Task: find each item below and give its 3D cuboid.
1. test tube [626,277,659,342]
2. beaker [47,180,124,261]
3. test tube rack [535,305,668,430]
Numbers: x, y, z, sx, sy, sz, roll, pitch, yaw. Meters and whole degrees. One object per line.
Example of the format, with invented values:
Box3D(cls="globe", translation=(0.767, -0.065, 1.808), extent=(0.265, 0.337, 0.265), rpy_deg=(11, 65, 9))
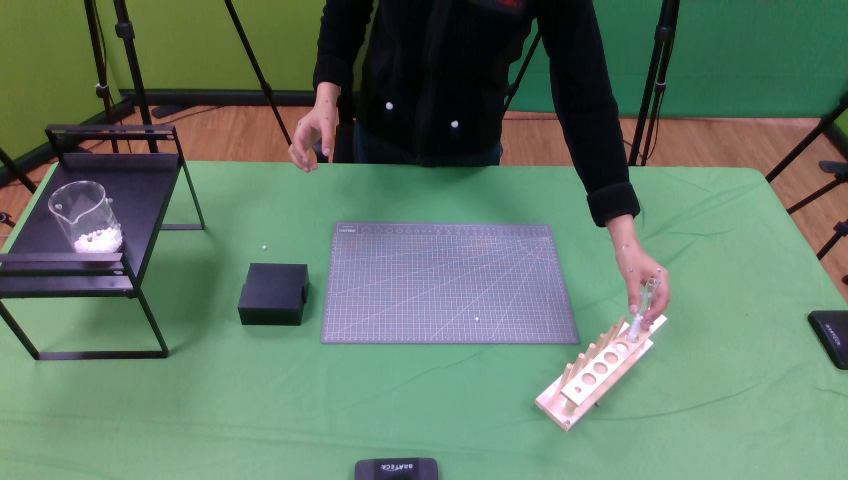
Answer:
Box3D(cls="test tube", translation=(0.333, 0.112, 0.932), extent=(0.017, 0.151, 0.017), rpy_deg=(0, 44, 0))
Box3D(cls="beaker", translation=(-0.486, -0.023, 0.879), extent=(0.074, 0.101, 0.083), rpy_deg=(-7, 48, -9))
Box3D(cls="test tube rack", translation=(0.290, 0.193, 0.984), extent=(0.242, 0.085, 0.066), rpy_deg=(-32, 57, -30))
